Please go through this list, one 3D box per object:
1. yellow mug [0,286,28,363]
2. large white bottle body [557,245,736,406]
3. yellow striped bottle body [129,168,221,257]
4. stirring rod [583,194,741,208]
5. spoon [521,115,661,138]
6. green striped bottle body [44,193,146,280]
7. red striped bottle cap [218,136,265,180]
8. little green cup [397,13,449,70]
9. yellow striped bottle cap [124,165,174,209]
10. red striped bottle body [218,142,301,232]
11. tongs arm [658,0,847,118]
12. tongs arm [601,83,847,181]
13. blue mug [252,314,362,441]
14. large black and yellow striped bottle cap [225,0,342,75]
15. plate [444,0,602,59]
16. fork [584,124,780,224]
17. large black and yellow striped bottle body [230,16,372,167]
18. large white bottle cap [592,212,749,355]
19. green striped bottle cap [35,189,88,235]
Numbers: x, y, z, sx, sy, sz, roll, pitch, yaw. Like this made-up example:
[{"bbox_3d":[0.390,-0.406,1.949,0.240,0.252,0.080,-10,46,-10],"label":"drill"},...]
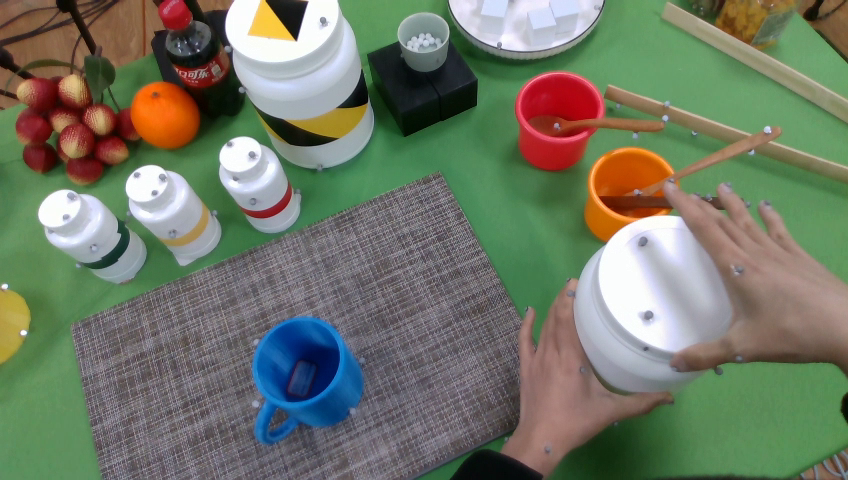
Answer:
[{"bbox_3d":[-0.488,0.099,0.639,0.100,0.064,0.129,-15,66,-3],"label":"yellow mug"},{"bbox_3d":[0.196,0.070,0.546,0.130,0.186,0.129,-2,65,4],"label":"large white bottle body"},{"bbox_3d":[-0.272,-0.032,0.657,0.063,0.121,0.062,-2,65,4],"label":"yellow striped bottle body"},{"bbox_3d":[0.235,-0.041,0.620,0.175,0.006,0.014,6,51,53],"label":"stirring rod"},{"bbox_3d":[0.174,-0.126,0.661,0.041,0.192,0.022,-42,115,-18],"label":"spoon"},{"bbox_3d":[-0.356,-0.006,0.650,0.063,0.120,0.062,-1,65,3],"label":"green striped bottle body"},{"bbox_3d":[-0.186,-0.084,0.617,0.044,0.018,0.044,0,62,0],"label":"red striped bottle cap"},{"bbox_3d":[-0.001,-0.235,0.723,0.061,0.039,0.061,-1,62,2],"label":"little green cup"},{"bbox_3d":[-0.277,-0.054,0.609,0.044,0.019,0.044,0,60,1],"label":"yellow striped bottle cap"},{"bbox_3d":[-0.182,-0.061,0.665,0.063,0.120,0.062,-2,65,5],"label":"red striped bottle body"},{"bbox_3d":[0.449,-0.192,0.736,0.385,0.028,0.028,40,67,19],"label":"tongs arm"},{"bbox_3d":[0.398,-0.124,0.705,0.383,0.027,0.050,25,66,13],"label":"tongs arm"},{"bbox_3d":[-0.117,0.139,0.573,0.082,0.106,0.116,30,71,17],"label":"blue mug"},{"bbox_3d":[-0.140,-0.217,0.604,0.115,0.019,0.114,-2,68,5],"label":"large black and yellow striped bottle cap"},{"bbox_3d":[0.130,-0.321,0.811,0.209,0.038,0.207,-1,66,3],"label":"plate"},{"bbox_3d":[0.257,-0.065,0.624,0.207,0.019,0.028,-31,55,39],"label":"fork"},{"bbox_3d":[-0.136,-0.182,0.682,0.131,0.185,0.129,-1,65,3],"label":"large black and yellow striped bottle body"},{"bbox_3d":[0.189,0.031,0.467,0.115,0.018,0.114,-1,65,3],"label":"large white bottle cap"},{"bbox_3d":[-0.360,-0.028,0.603,0.044,0.020,0.044,0,64,1],"label":"green striped bottle cap"}]
